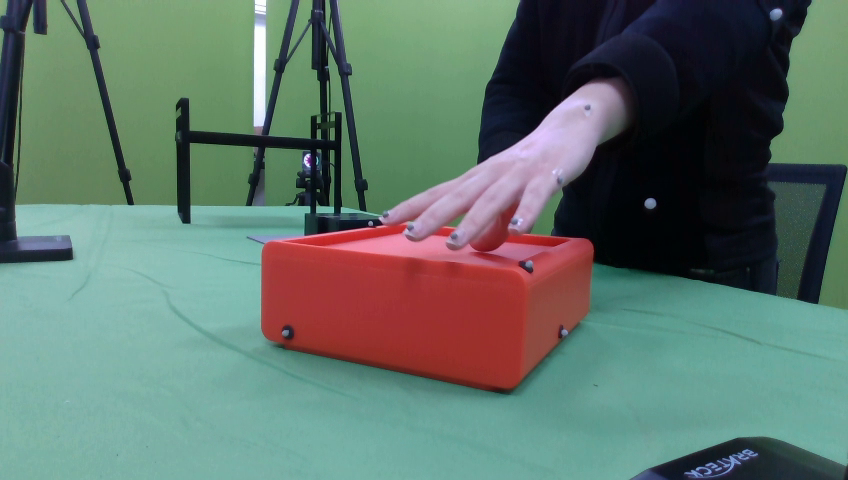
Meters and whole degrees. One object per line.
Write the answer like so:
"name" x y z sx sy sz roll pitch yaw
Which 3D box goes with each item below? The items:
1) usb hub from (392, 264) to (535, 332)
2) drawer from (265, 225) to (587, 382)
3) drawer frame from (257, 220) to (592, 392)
"usb hub" 0.032 0.048 0.533 0.124 0.025 0.050 16 14 39
"drawer" 0.013 0.038 0.494 0.194 0.073 0.212 7 9 25
"drawer frame" 0.014 0.036 0.491 0.201 0.082 0.214 6 9 24
